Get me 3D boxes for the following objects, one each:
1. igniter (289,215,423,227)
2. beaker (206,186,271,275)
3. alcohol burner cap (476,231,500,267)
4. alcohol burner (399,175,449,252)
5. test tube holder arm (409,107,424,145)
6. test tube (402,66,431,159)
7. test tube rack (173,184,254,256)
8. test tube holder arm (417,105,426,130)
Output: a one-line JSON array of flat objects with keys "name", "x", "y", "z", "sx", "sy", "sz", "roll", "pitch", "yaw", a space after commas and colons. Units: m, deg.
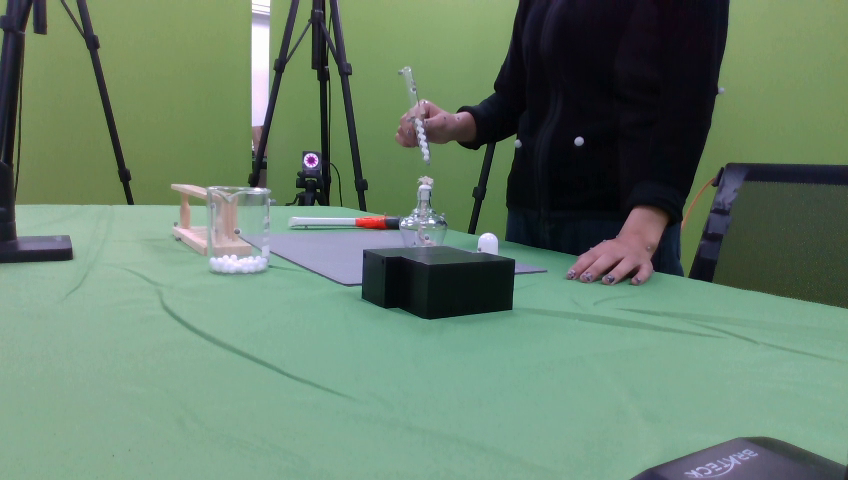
[{"name": "igniter", "x": -0.133, "y": -0.038, "z": 1.232, "sx": 0.278, "sy": 0.025, "sz": 0.057, "roll": -1, "pitch": -2, "yaw": -25}, {"name": "beaker", "x": -0.220, "y": -0.012, "z": 0.717, "sx": 0.074, "sy": 0.100, "sz": 0.084, "roll": 2, "pitch": 8, "yaw": -3}, {"name": "alcohol burner cap", "x": 0.088, "y": 0.012, "z": 0.830, "sx": 0.034, "sy": 0.048, "sz": 0.034, "roll": 2, "pitch": 6, "yaw": 0}, {"name": "alcohol burner", "x": 0.000, "y": -0.041, "z": 0.937, "sx": 0.078, "sy": 0.119, "sz": 0.078, "roll": 0, "pitch": 8, "yaw": 0}, {"name": "test tube holder arm", "x": -0.011, "y": -0.187, "z": 1.000, "sx": 0.013, "sy": 0.015, "sz": 0.178, "roll": -10, "pitch": -6, "yaw": 2}, {"name": "test tube", "x": -0.011, "y": -0.197, "z": 0.932, "sx": 0.017, "sy": 0.150, "sz": 0.017, "roll": -12, "pitch": -6, "yaw": -1}, {"name": "test tube rack", "x": -0.328, "y": -0.036, "z": 0.927, "sx": 0.067, "sy": 0.085, "sz": 0.241, "roll": -2, "pitch": 9, "yaw": -32}, {"name": "test tube holder arm", "x": -0.006, "y": -0.192, "z": 0.955, "sx": 0.010, "sy": 0.015, "sz": 0.088, "roll": -10, "pitch": -6, "yaw": -6}]
